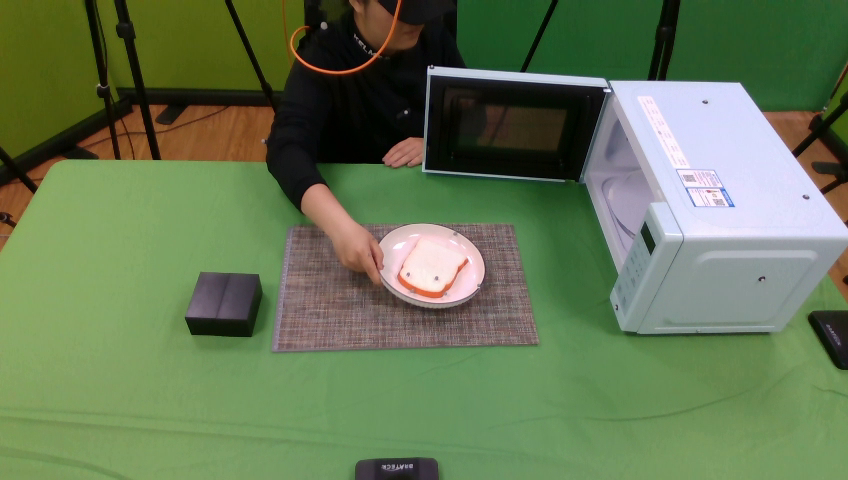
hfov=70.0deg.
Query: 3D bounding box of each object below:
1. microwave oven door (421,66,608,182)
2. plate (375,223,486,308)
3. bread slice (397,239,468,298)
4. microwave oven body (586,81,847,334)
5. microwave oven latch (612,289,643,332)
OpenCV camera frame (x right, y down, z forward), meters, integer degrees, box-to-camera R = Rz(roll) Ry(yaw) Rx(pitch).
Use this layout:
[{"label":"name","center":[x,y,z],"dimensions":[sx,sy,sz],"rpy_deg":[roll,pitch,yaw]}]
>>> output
[{"label":"microwave oven door","center":[0.177,-0.237,1.263],"dimensions":[0.356,0.245,0.039],"rpy_deg":[4,46,0]},{"label":"plate","center":[0.011,0.050,1.122],"dimensions":[0.209,0.038,0.208],"rpy_deg":[7,43,-6]},{"label":"bread slice","center":[0.014,0.054,1.124],"dimensions":[0.104,0.019,0.131],"rpy_deg":[23,42,12]},{"label":"microwave oven body","center":[0.501,-0.070,1.132],"dimensions":[0.326,0.261,0.438],"rpy_deg":[-1,45,-3]},{"label":"microwave oven latch","center":[0.357,0.124,1.068],"dimensions":[0.030,0.029,0.078],"rpy_deg":[0,45,-3]}]
